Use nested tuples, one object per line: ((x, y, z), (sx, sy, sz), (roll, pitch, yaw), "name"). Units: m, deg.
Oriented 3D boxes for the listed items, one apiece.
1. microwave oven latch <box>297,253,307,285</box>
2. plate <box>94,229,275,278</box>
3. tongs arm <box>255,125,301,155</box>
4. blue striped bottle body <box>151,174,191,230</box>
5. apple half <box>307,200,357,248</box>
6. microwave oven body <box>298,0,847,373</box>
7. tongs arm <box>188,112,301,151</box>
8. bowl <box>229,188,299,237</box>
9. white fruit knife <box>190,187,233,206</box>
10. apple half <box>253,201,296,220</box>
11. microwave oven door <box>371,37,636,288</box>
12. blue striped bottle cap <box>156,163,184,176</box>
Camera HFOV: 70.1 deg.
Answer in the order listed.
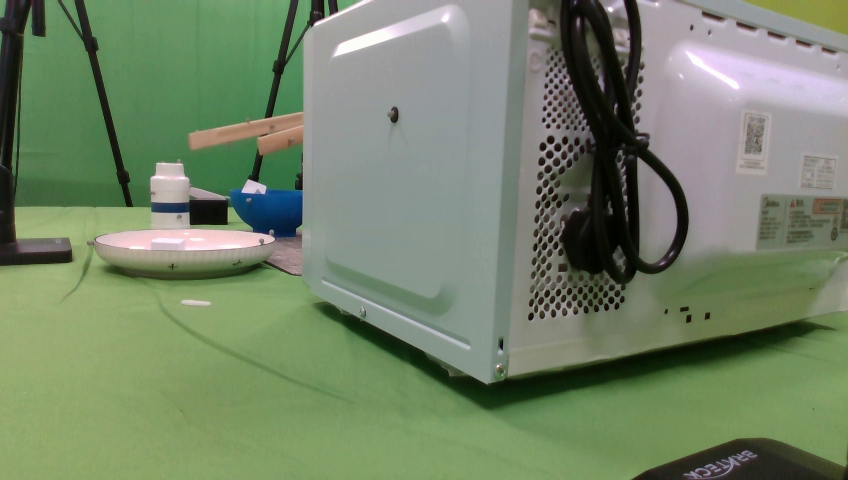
((-0.082, 0.027, 0.582), (0.079, 0.029, 0.030), (-1, 8, -33), "microwave oven latch")
((-0.291, 0.016, 0.750), (0.208, 0.039, 0.207), (2, 7, 0), "plate")
((-0.168, -0.194, 1.014), (0.028, 0.028, 0.388), (-1, 19, 22), "tongs arm")
((-0.439, -0.071, 1.052), (0.063, 0.120, 0.063), (2, 7, 0), "blue striped bottle body")
((-0.136, -0.024, 0.942), (0.053, 0.074, 0.081), (15, 10, 38), "apple half")
((0.151, -0.055, 0.543), (0.444, 0.260, 0.324), (-1, 7, -33), "microwave oven body")
((-0.233, -0.202, 1.045), (0.050, 0.026, 0.386), (7, 22, 30), "tongs arm")
((-0.264, -0.048, 1.066), (0.151, 0.077, 0.151), (2, 8, 0), "bowl")
((-0.413, -0.081, 1.270), (0.208, 0.027, 0.016), (18, 14, -41), "white fruit knife")
((-0.264, -0.053, 1.066), (0.081, 0.033, 0.081), (1, 7, 0), "apple half")
((0.109, -0.080, 0.686), (0.358, 0.243, 0.039), (-2, 9, -33), "microwave oven door")
((-0.438, -0.122, 1.045), (0.044, 0.020, 0.044), (4, 6, 0), "blue striped bottle cap")
